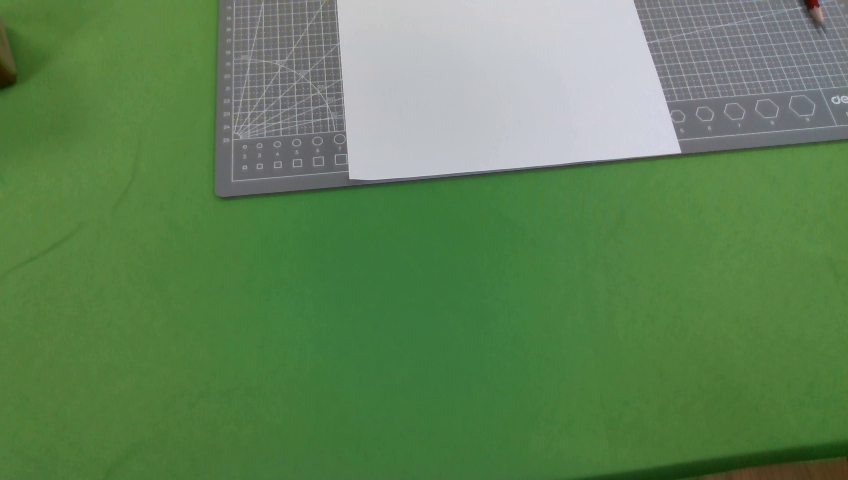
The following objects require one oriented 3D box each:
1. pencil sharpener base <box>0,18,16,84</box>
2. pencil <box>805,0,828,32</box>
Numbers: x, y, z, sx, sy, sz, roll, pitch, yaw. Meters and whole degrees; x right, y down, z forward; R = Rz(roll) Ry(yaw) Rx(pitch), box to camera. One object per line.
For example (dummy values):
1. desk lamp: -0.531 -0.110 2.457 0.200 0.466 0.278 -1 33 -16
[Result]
1. pencil sharpener base: -0.312 -0.135 0.356 0.077 0.108 0.061 -25 69 -11
2. pencil: 0.270 -0.235 0.461 0.012 0.012 0.192 -7 68 -4
